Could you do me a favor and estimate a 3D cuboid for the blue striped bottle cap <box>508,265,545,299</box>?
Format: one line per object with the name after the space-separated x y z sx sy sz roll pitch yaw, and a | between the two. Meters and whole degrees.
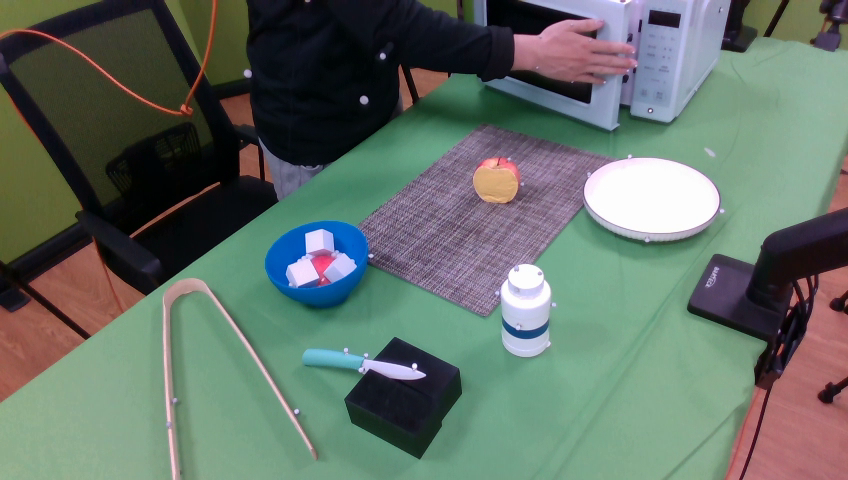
0.125 0.051 0.734 0.044 0.021 0.044 -5 34 4 | blue striped bottle cap

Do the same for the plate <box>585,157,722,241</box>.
0.367 -0.063 0.979 0.207 0.039 0.206 -4 40 4 | plate

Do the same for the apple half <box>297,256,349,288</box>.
-0.154 0.044 0.889 0.081 0.033 0.081 -3 40 3 | apple half

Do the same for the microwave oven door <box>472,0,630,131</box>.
0.234 -0.377 1.181 0.039 0.245 0.352 -35 48 -28 | microwave oven door

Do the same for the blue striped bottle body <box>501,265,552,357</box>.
0.129 0.089 0.769 0.063 0.121 0.063 -4 40 4 | blue striped bottle body

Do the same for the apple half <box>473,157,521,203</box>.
0.127 -0.106 1.030 0.080 0.075 0.053 4 36 19 | apple half

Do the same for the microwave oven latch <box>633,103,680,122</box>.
0.444 -0.249 1.158 0.078 0.029 0.030 21 49 30 | microwave oven latch

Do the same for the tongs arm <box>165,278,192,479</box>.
-0.313 0.182 0.789 0.051 0.026 0.381 -19 41 -14 | tongs arm

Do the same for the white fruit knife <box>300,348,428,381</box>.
-0.079 0.154 0.748 0.206 0.027 0.016 1 20 34 | white fruit knife

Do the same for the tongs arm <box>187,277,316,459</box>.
-0.240 0.154 0.815 0.028 0.028 0.384 -31 45 -21 | tongs arm

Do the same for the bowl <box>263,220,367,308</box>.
-0.153 0.047 0.892 0.151 0.077 0.150 -4 40 3 | bowl

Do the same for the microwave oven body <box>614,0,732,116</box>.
0.377 -0.463 1.267 0.438 0.261 0.327 21 49 30 | microwave oven body
